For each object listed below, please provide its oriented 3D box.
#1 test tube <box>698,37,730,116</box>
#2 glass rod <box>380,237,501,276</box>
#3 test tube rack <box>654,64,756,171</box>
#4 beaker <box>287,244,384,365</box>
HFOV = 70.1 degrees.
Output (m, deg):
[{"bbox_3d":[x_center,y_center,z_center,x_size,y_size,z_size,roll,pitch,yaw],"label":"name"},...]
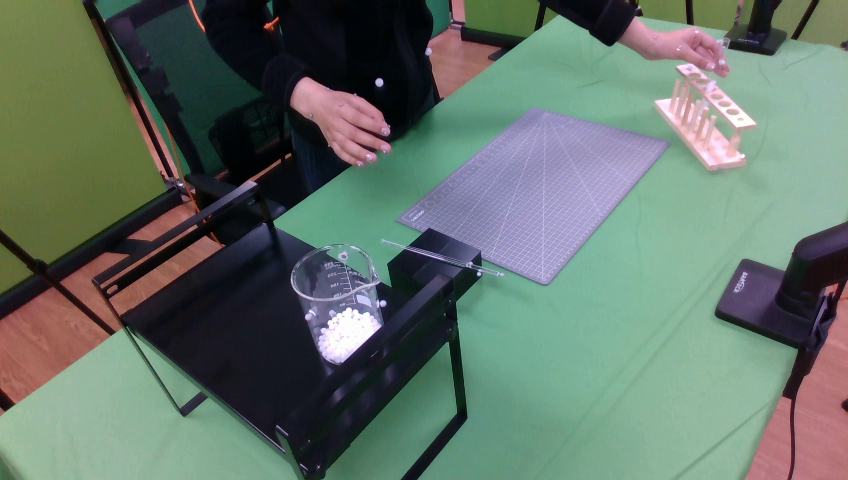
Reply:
[{"bbox_3d":[0.522,-0.290,1.089,0.017,0.151,0.017,-1,41,1],"label":"test tube"},{"bbox_3d":[0.020,0.023,0.881,0.198,0.008,0.008,16,46,25],"label":"glass rod"},{"bbox_3d":[0.510,-0.233,1.120,0.067,0.085,0.241,-9,41,-1],"label":"test tube rack"},{"bbox_3d":[-0.076,0.064,0.574,0.083,0.101,0.074,6,43,15],"label":"beaker"}]
